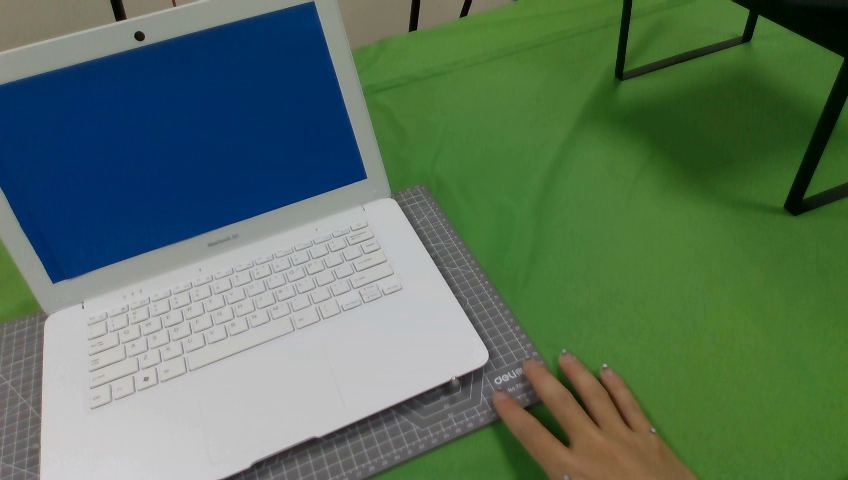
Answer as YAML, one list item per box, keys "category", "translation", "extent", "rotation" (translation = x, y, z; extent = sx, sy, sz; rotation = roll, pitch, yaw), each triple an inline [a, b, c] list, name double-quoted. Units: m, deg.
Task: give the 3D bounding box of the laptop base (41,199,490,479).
- category: "laptop base"
  translation: [-0.148, 0.091, 0.535]
  extent: [0.355, 0.023, 0.233]
  rotation: [-21, 48, -13]

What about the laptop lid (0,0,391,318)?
- category: "laptop lid"
  translation: [-0.222, -0.085, 0.566]
  extent: [0.357, 0.243, 0.013]
  rotation: [-22, 24, -12]
